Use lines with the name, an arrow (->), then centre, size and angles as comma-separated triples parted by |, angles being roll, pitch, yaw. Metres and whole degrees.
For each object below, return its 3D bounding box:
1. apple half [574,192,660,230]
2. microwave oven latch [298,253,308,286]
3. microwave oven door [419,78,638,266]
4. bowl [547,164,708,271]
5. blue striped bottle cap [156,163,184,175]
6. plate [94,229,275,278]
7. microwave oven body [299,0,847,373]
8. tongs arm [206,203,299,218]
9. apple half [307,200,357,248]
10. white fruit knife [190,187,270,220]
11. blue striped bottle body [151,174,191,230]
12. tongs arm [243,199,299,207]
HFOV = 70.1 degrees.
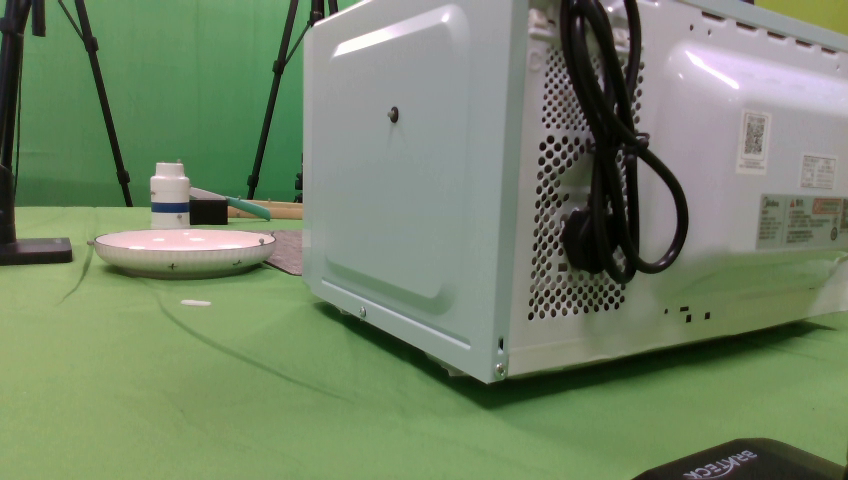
apple half -> 0.184, -0.030, 0.585 | 0.081, 0.033, 0.081 | 6, -5, 1
microwave oven latch -> -0.081, 0.027, 0.582 | 0.079, 0.029, 0.030 | -1, 7, -32
microwave oven door -> 0.134, -0.105, 0.895 | 0.354, 0.243, 0.039 | 9, 10, 44
bowl -> 0.185, -0.018, 0.584 | 0.151, 0.077, 0.151 | 14, 8, -2
blue striped bottle cap -> -0.439, -0.122, 1.045 | 0.044, 0.020, 0.044 | 7, 8, -1
plate -> -0.291, 0.016, 0.749 | 0.208, 0.039, 0.207 | 2, 7, 0
microwave oven body -> 0.152, -0.055, 0.542 | 0.444, 0.260, 0.324 | -2, 7, -33
tongs arm -> -0.302, -0.066, 1.406 | 0.389, 0.028, 0.028 | 1, 4, -15
apple half -> -0.136, -0.024, 0.942 | 0.053, 0.074, 0.081 | 15, 10, 38
white fruit knife -> -0.413, -0.081, 1.270 | 0.208, 0.027, 0.016 | 17, 13, -41
blue striped bottle body -> -0.439, -0.071, 1.052 | 0.063, 0.120, 0.063 | 2, 8, 0
tongs arm -> -0.309, -0.078, 1.486 | 0.385, 0.026, 0.051 | 4, 7, -2
